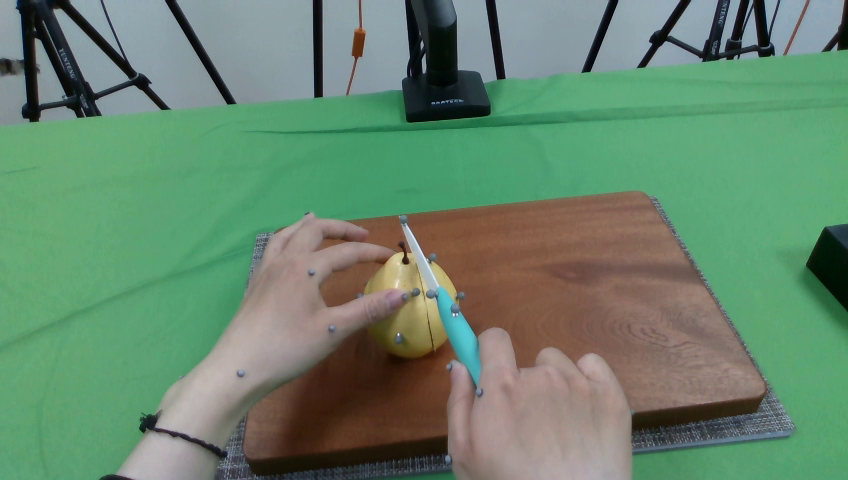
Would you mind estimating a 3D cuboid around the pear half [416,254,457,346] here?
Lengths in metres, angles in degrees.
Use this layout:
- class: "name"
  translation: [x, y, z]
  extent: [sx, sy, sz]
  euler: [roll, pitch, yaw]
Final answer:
- class: "pear half"
  translation: [0.010, 0.043, 0.491]
  extent: [0.031, 0.089, 0.069]
  euler: [-13, 36, -10]

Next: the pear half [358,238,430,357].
- class: "pear half"
  translation: [-0.026, 0.042, 0.480]
  extent: [0.056, 0.111, 0.075]
  euler: [-11, 38, -10]

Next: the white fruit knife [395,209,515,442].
- class: "white fruit knife"
  translation: [0.012, 0.042, 0.413]
  extent: [0.016, 0.028, 0.205]
  euler: [-14, 44, -15]
